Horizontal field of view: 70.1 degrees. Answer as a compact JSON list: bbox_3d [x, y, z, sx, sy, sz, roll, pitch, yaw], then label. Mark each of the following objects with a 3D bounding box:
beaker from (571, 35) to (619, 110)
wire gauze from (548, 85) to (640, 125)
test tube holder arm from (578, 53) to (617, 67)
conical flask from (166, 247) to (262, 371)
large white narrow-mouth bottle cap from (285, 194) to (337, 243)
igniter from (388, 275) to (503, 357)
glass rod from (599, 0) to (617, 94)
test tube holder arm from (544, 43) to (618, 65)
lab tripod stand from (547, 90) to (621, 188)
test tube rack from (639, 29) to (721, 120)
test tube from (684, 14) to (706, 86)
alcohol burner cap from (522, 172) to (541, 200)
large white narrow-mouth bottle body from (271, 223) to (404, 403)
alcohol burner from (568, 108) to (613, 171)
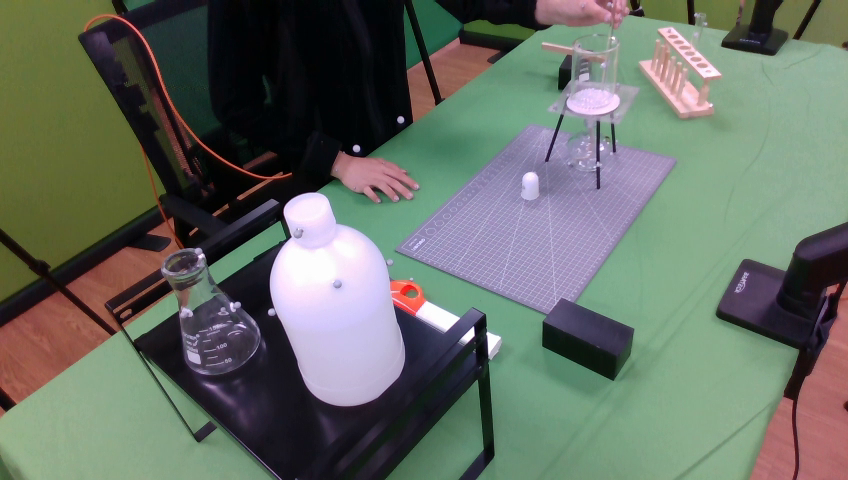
[{"bbox_3d":[0.280,-0.273,0.992,0.084,0.101,0.073,-24,42,-16],"label":"beaker"},{"bbox_3d":[0.286,-0.234,1.020,0.124,0.011,0.122,15,44,30],"label":"wire gauze"},{"bbox_3d":[0.376,-0.394,1.314,0.087,0.015,0.010,26,49,32],"label":"test tube holder arm"},{"bbox_3d":[-0.209,0.064,0.585,0.075,0.122,0.075,-5,40,4],"label":"conical flask"},{"bbox_3d":[-0.087,-0.017,0.468,0.038,0.024,0.037,-4,40,4],"label":"large white narrow-mouth bottle cap"},{"bbox_3d":[-0.008,0.093,0.870,0.274,0.025,0.057,24,60,33],"label":"igniter"},{"bbox_3d":[0.294,-0.321,0.961,0.008,0.200,0.008,-3,46,3],"label":"glass rod"},{"bbox_3d":[0.345,-0.413,1.341,0.177,0.015,0.013,26,49,32],"label":"test tube holder arm"},{"bbox_3d":[0.289,-0.184,1.062,0.148,0.132,0.147,-6,41,6],"label":"lab tripod stand"},{"bbox_3d":[0.527,-0.351,1.262,0.067,0.085,0.241,-8,40,1],"label":"test tube rack"},{"bbox_3d":[0.541,-0.378,1.215,0.017,0.151,0.017,-2,44,3],"label":"test tube"},{"bbox_3d":[0.186,-0.096,1.047,0.034,0.048,0.033,-5,39,4],"label":"alcohol burner cap"},{"bbox_3d":[-0.077,0.048,0.525,0.102,0.195,0.101,-5,40,4],"label":"large white narrow-mouth bottle body"},{"bbox_3d":[0.296,-0.182,1.074,0.078,0.119,0.077,-5,43,5],"label":"alcohol burner"}]
